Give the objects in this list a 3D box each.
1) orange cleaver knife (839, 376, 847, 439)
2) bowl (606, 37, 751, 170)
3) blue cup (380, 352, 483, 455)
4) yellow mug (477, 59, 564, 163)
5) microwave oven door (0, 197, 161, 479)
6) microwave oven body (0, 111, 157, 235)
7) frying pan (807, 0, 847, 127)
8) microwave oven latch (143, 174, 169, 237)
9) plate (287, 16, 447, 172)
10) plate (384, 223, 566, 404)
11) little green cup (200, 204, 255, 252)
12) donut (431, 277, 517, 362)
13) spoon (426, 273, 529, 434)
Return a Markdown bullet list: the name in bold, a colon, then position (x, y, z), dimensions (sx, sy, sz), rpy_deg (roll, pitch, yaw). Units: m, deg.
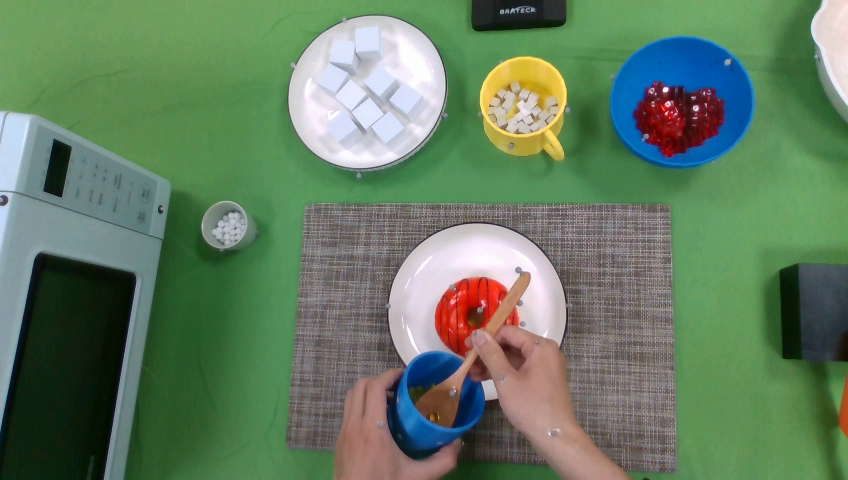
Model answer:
- **orange cleaver knife**: position (0.438, 0.185, 0.608), dimensions (0.012, 0.077, 0.212), rpy_deg (0, 109, 10)
- **bowl**: position (0.281, -0.144, 0.694), dimensions (0.151, 0.077, 0.151), rpy_deg (-2, 80, 9)
- **blue cup**: position (-0.001, 0.172, 0.608), dimensions (0.093, 0.100, 0.092), rpy_deg (14, 52, -18)
- **yellow mug**: position (0.125, -0.145, 0.726), dimensions (0.100, 0.064, 0.130), rpy_deg (-36, 77, 1)
- **microwave oven door**: position (-0.392, 0.152, 0.648), dimensions (0.039, 0.245, 0.354), rpy_deg (4, 80, 10)
- **microwave oven body**: position (-0.531, 0.102, 0.685), dimensions (0.325, 0.261, 0.440), rpy_deg (4, 81, 9)
- **frying pan**: position (0.556, -0.114, 0.630), dimensions (0.306, 0.103, 0.485), rpy_deg (6, 73, 11)
- **microwave oven latch**: position (-0.353, -0.045, 0.781), dimensions (0.030, 0.029, 0.079), rpy_deg (7, 82, 10)
- **plate**: position (-0.071, -0.185, 0.780), dimensions (0.207, 0.039, 0.207), rpy_deg (-2, 80, 9)
- **plate**: position (0.058, 0.084, 0.706), dimensions (0.209, 0.038, 0.208), rpy_deg (-2, 80, 9)
- **little green cup**: position (-0.249, -0.013, 0.777), dimensions (0.061, 0.039, 0.061), rpy_deg (-1, 81, 8)
- **donut**: position (0.057, 0.091, 0.694), dimensions (0.099, 0.048, 0.099), rpy_deg (-1, 83, 11)
- **spoon**: position (0.046, 0.114, 0.582), dimensions (0.041, 0.022, 0.194), rpy_deg (35, 98, 13)
